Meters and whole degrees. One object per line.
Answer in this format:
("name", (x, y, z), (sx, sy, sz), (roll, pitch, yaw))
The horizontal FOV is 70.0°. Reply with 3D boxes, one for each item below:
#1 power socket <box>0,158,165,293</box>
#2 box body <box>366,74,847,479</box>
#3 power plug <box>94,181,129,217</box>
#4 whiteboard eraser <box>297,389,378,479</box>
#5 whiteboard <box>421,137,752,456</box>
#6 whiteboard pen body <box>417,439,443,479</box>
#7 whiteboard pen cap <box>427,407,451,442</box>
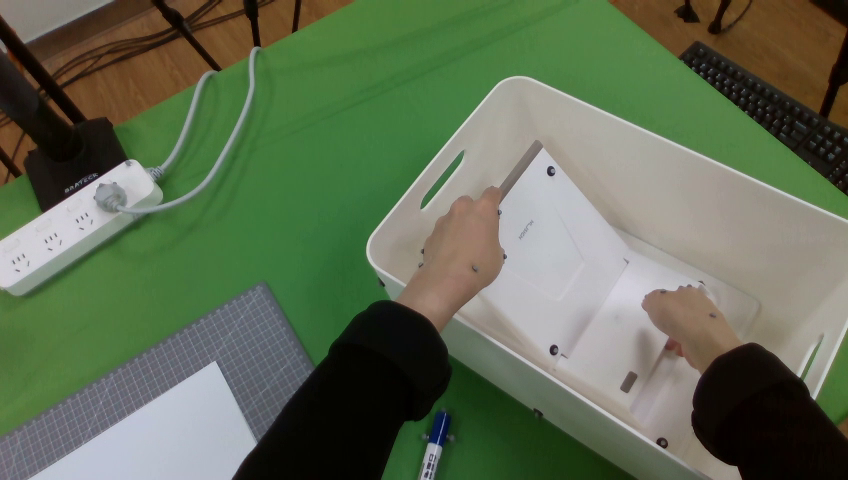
("power socket", (-0.427, -0.020, 0.747), (0.226, 0.033, 0.071), (-37, 65, -14))
("box body", (0.165, 0.039, 0.579), (0.361, 0.162, 0.253), (30, 69, 20))
("power plug", (-0.371, -0.040, 0.726), (0.035, 0.053, 0.072), (-27, 69, -9))
("whiteboard eraser", (-0.084, 0.204, 0.584), (0.055, 0.042, 0.112), (8, 64, 12))
("whiteboard", (0.158, 0.036, 0.594), (0.303, 0.145, 0.216), (29, 66, 20))
("whiteboard pen body", (-0.002, 0.235, 0.577), (0.017, 0.017, 0.140), (13, 64, 13))
("whiteboard pen cap", (0.015, 0.184, 0.601), (0.018, 0.018, 0.033), (12, 65, 13))
